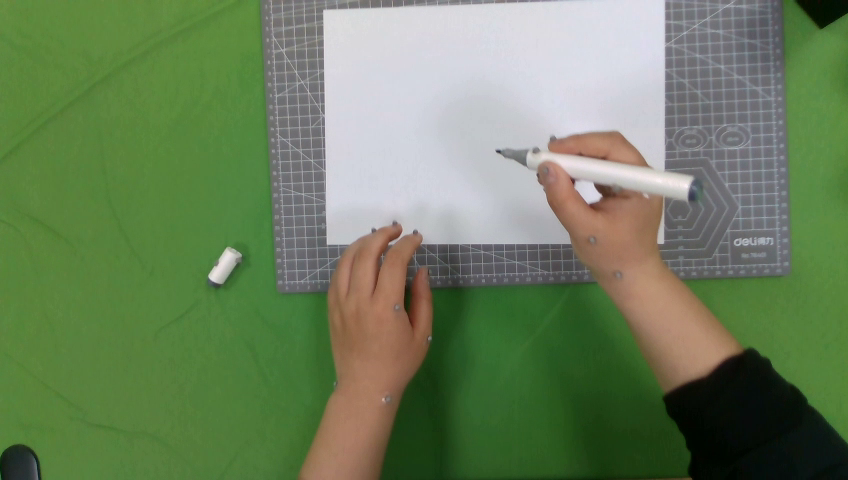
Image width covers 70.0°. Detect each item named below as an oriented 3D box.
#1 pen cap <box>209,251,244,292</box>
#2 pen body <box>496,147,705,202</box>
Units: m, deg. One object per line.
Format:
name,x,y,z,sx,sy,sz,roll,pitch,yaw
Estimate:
pen cap,-0.181,0.030,0.554,0.017,0.017,0.038,36,94,4
pen body,0.109,-0.046,0.400,0.143,0.017,0.017,18,94,35
